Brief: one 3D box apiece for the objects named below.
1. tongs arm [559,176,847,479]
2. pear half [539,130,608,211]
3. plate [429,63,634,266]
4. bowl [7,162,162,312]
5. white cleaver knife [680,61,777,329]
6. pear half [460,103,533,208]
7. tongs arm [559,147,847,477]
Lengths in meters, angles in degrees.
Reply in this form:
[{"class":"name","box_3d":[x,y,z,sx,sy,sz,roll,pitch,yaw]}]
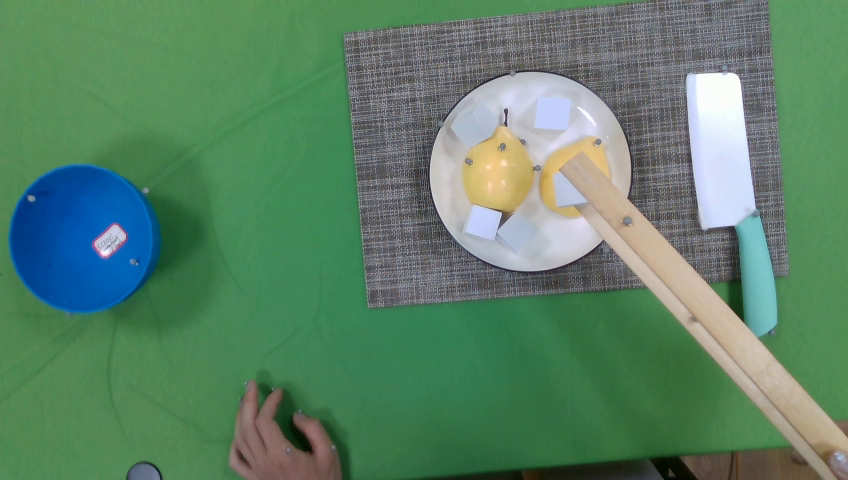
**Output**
[{"class":"tongs arm","box_3d":[0.251,0.080,0.508,0.026,0.051,0.383,-41,80,4]},{"class":"pear half","box_3d":[0.158,-0.073,0.625,0.070,0.031,0.088,26,98,-1]},{"class":"plate","box_3d":[0.110,-0.077,0.633,0.207,0.039,0.207,0,92,3]},{"class":"bowl","box_3d":[-0.340,-0.003,0.640,0.151,0.077,0.151,0,92,3]},{"class":"white cleaver knife","box_3d":[0.318,-0.047,0.638,0.066,0.021,0.286,-9,88,15]},{"class":"pear half","box_3d":[0.076,-0.090,0.620,0.076,0.056,0.109,5,88,-1]},{"class":"tongs arm","box_3d":[0.242,0.076,0.467,0.028,0.028,0.386,-41,81,1]}]
